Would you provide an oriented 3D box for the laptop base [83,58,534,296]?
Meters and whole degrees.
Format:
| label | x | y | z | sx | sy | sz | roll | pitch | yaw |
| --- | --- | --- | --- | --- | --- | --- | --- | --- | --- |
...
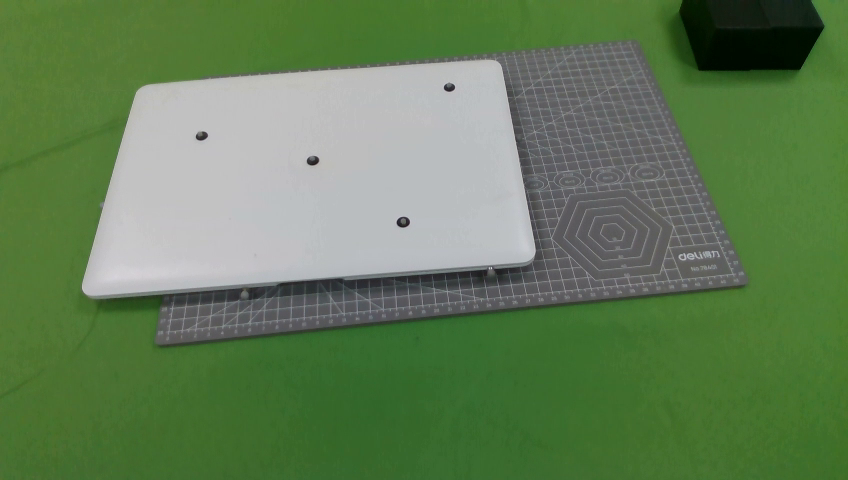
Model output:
| label | x | y | z | sx | sy | sz | roll | pitch | yaw |
| --- | --- | --- | --- | --- | --- | --- | --- | --- | --- |
| laptop base | -0.096 | -0.063 | 0.533 | 0.354 | 0.023 | 0.233 | -4 | 59 | 0 |

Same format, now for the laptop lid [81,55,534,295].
| label | x | y | z | sx | sy | sz | roll | pitch | yaw |
| --- | --- | --- | --- | --- | --- | --- | --- | --- | --- |
| laptop lid | -0.096 | -0.069 | 0.522 | 0.357 | 0.013 | 0.239 | -3 | 58 | 1 |
